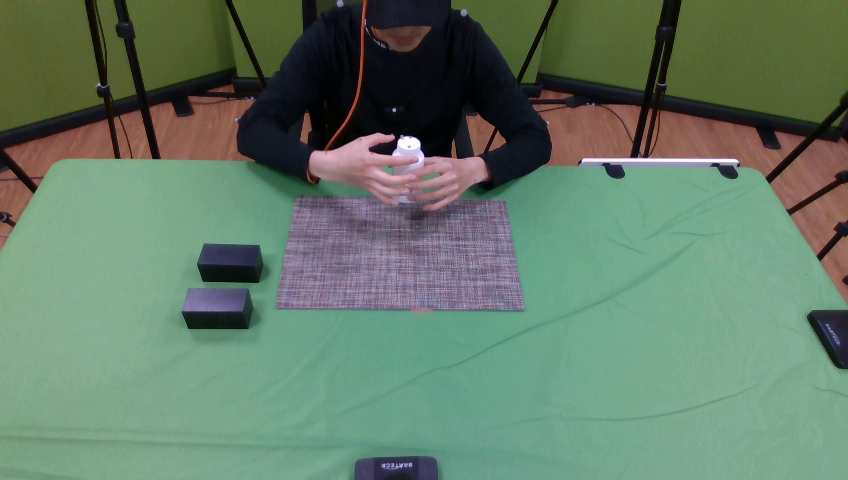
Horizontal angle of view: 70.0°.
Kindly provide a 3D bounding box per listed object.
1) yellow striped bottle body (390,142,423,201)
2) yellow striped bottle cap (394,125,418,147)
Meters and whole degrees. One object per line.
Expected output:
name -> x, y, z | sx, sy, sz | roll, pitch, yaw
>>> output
yellow striped bottle body -> -0.034, -0.140, 1.184 | 0.063, 0.121, 0.062 | 2, 44, -2
yellow striped bottle cap -> -0.034, -0.195, 1.128 | 0.044, 0.019, 0.044 | 3, 52, -4
